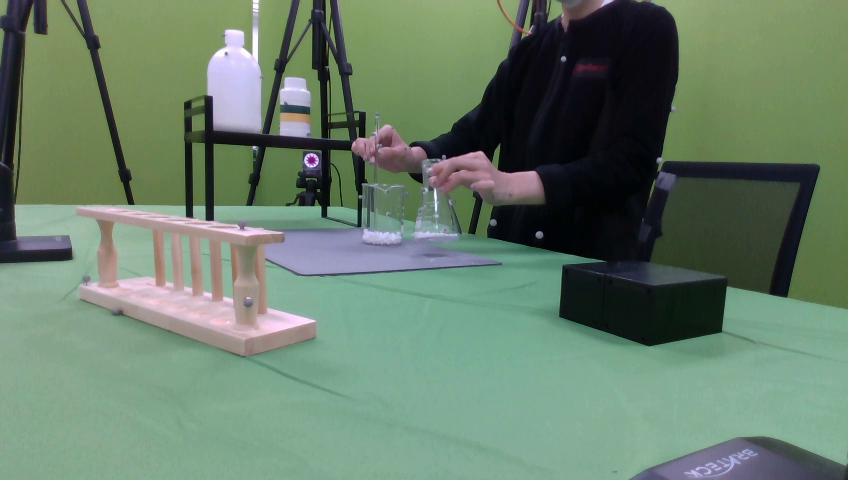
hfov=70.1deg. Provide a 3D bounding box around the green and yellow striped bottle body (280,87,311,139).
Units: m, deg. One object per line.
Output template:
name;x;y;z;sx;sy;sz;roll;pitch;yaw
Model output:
green and yellow striped bottle body;-0.269;-0.274;1.266;0.063;0.119;0.063;3;7;0

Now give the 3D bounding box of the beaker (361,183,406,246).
beaker;-0.067;-0.042;0.993;0.074;0.100;0.084;1;8;-8

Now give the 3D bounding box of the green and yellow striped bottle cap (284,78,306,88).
green and yellow striped bottle cap;-0.268;-0.325;1.259;0.045;0.020;0.045;5;8;0

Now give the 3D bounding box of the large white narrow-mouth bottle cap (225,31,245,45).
large white narrow-mouth bottle cap;-0.365;-0.388;1.166;0.038;0.024;0.037;2;9;0

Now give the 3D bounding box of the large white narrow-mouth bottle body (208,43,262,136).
large white narrow-mouth bottle body;-0.369;-0.304;1.181;0.102;0.194;0.101;2;9;0

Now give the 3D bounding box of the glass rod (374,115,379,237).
glass rod;-0.078;-0.104;0.987;0.008;0.199;0.008;1;3;0

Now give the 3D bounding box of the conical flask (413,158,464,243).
conical flask;0.018;-0.059;0.895;0.075;0.121;0.075;-3;-3;0

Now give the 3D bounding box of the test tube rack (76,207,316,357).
test tube rack;-0.196;0.023;0.500;0.241;0.085;0.067;8;9;36
